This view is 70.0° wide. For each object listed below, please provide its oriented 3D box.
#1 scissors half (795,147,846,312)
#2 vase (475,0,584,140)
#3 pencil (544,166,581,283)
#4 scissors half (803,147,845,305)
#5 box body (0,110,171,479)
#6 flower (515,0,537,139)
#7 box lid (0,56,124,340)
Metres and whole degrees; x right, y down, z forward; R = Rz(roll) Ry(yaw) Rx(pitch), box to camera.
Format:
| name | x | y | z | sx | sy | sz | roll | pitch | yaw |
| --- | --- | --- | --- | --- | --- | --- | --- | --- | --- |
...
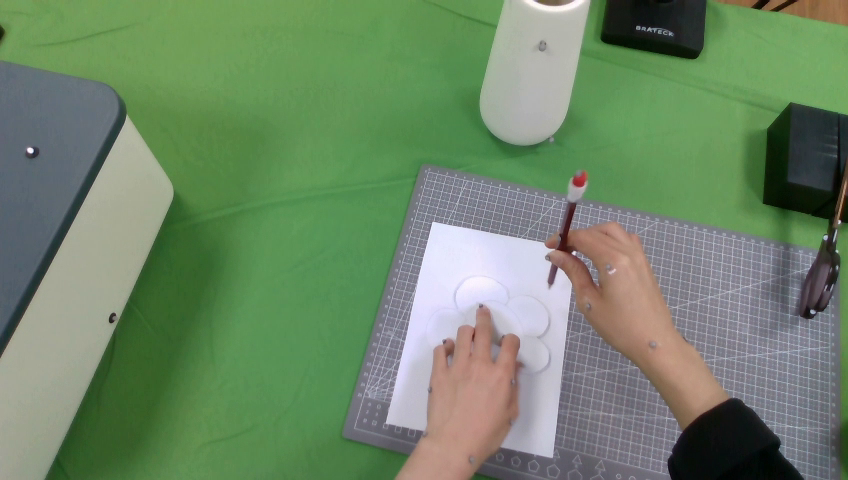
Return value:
| name | x | y | z | sx | sy | sz | roll | pitch | yaw |
| --- | --- | --- | --- | --- | --- | --- | --- | --- | --- |
| scissors half | 0.398 | -0.012 | 0.604 | 0.012 | 0.040 | 0.175 | 17 | 86 | 22 |
| vase | 0.105 | -0.188 | 0.607 | 0.098 | 0.201 | 0.097 | 0 | 66 | 1 |
| pencil | 0.112 | -0.003 | 0.506 | 0.012 | 0.195 | 0.012 | -2 | 62 | 4 |
| scissors half | 0.393 | -0.018 | 0.585 | 0.013 | 0.040 | 0.174 | 18 | 69 | 17 |
| box body | -0.420 | 0.032 | 0.533 | 0.254 | 0.161 | 0.362 | 13 | 68 | 5 |
| flower | 0.101 | -0.233 | 0.536 | 0.044 | 0.365 | 0.038 | 6 | 50 | 6 |
| box lid | -0.420 | 0.001 | 0.464 | 0.263 | 0.015 | 0.369 | 13 | 68 | 4 |
